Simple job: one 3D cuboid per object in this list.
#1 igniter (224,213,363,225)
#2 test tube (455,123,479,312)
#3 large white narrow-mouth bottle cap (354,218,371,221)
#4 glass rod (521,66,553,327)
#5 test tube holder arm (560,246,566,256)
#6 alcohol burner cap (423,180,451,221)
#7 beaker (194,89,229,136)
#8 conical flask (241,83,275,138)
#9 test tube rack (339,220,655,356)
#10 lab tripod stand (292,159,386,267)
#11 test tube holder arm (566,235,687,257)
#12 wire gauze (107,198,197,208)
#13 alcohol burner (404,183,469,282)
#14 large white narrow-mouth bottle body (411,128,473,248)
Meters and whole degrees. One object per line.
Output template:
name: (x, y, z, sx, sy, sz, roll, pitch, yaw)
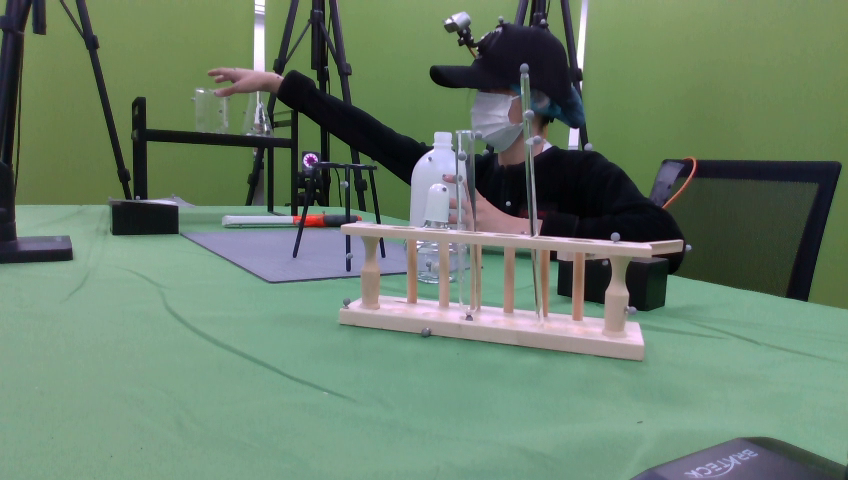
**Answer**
igniter: (-0.255, -0.041, 1.210, 0.278, 0.025, 0.057, -2, -3, -31)
test tube: (0.034, -0.016, 0.476, 0.017, 0.150, 0.017, -2, 10, 1)
large white narrow-mouth bottle cap: (-0.120, -0.029, 1.184, 0.038, 0.024, 0.037, 2, 8, 0)
glass rod: (0.085, -0.028, 0.454, 0.008, 0.199, 0.008, -7, 10, 2)
test tube holder arm: (0.173, 0.007, 0.611, 0.088, 0.015, 0.010, -3, 9, -30)
alcohol burner cap: (0.017, -0.047, 0.711, 0.034, 0.048, 0.034, 8, 5, 0)
beaker: (-0.472, -0.284, 1.352, 0.074, 0.100, 0.083, -4, 10, -35)
conical flask: (-0.383, -0.297, 1.392, 0.075, 0.122, 0.075, 2, 7, 0)
test tube rack: (0.056, 0.032, 0.495, 0.242, 0.085, 0.067, 4, 7, 15)
lab tripod stand: (-0.105, -0.039, 0.798, 0.148, 0.131, 0.148, 2, 5, 0)
test tube holder arm: (0.215, 0.006, 0.629, 0.179, 0.015, 0.013, -3, 9, -30)
wire gauze: (-0.462, -0.064, 1.023, 0.126, 0.011, 0.121, -2, 7, -32)
alcohol burner: (0.015, -0.011, 0.715, 0.078, 0.119, 0.078, 0, 7, 0)
large white narrow-mouth bottle body: (0.031, -0.088, 1.005, 0.102, 0.194, 0.102, 2, 8, 0)
